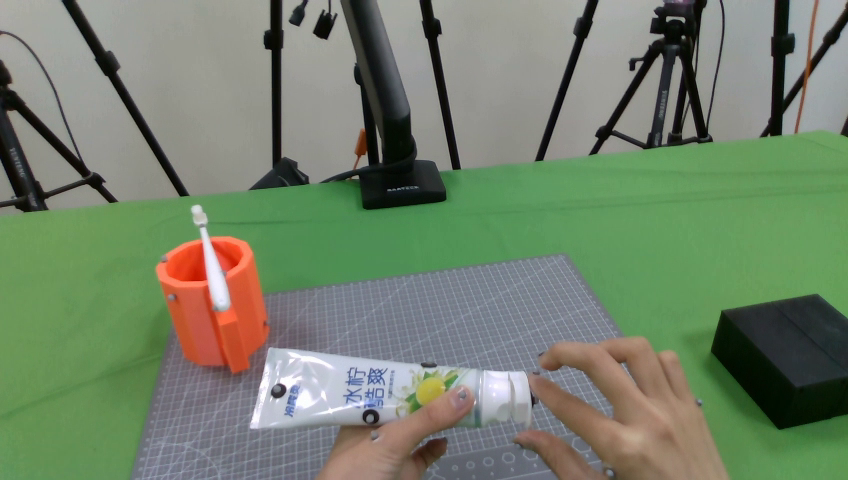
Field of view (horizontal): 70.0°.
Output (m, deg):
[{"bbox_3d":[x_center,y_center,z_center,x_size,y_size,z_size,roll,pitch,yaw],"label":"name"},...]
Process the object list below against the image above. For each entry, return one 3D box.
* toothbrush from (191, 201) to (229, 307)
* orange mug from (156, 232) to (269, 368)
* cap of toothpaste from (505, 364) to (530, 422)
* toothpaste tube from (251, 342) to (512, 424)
[{"bbox_3d":[-0.202,0.008,0.567,0.014,0.017,0.180,-12,34,-21],"label":"toothbrush"},{"bbox_3d":[-0.196,0.061,0.580,0.084,0.101,0.125,-18,32,-23],"label":"orange mug"},{"bbox_3d":[0.057,0.095,0.377,0.011,0.037,0.037,-4,33,-5],"label":"cap of toothpaste"},{"bbox_3d":[-0.024,0.092,0.383,0.165,0.035,0.054,1,52,3],"label":"toothpaste tube"}]
